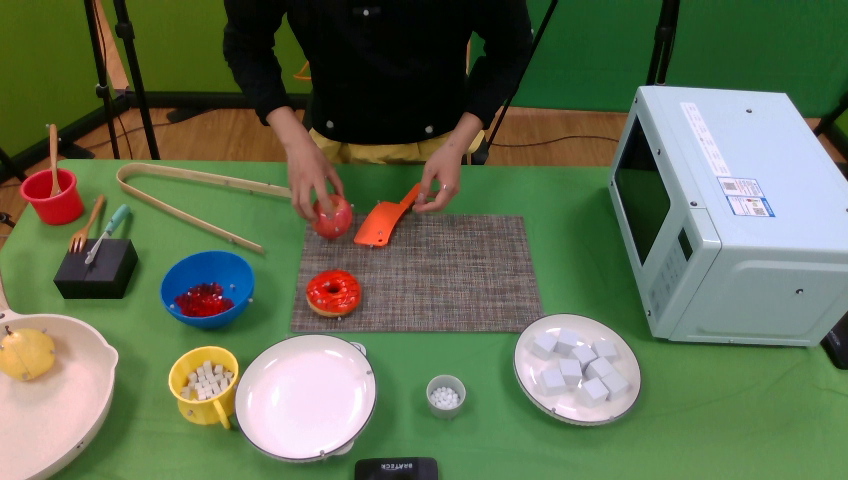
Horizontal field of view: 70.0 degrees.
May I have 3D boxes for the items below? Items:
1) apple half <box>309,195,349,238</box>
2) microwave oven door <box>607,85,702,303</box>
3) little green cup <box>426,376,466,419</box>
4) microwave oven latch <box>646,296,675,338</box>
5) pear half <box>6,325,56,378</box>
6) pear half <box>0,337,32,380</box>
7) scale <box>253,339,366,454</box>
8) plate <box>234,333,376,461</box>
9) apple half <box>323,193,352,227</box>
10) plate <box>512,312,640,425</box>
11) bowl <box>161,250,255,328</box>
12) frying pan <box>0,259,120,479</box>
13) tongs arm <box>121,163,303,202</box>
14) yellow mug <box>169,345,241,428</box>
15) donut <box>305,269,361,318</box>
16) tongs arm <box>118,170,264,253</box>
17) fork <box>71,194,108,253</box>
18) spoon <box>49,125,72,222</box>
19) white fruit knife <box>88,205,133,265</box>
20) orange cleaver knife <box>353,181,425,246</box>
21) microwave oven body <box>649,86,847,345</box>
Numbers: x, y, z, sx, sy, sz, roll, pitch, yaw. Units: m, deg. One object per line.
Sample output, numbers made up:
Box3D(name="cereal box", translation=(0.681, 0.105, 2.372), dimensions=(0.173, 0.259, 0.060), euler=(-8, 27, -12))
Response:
Box3D(name="apple half", translation=(-0.186, -0.038, 1.144), dimensions=(0.080, 0.075, 0.053), euler=(39, 56, 19))
Box3D(name="microwave oven door", translation=(0.423, -0.094, 1.140), dimensions=(0.039, 0.245, 0.353), euler=(2, 46, -1))
Box3D(name="little green cup", translation=(0.033, 0.248, 0.950), dimensions=(0.061, 0.039, 0.061), euler=(2, 46, -2))
Box3D(name="microwave oven latch", translation=(0.412, 0.134, 1.061), dimensions=(0.030, 0.029, 0.078), euler=(4, 45, 1))
Box3D(name="pear half", translation=(-0.608, 0.158, 0.935), dimensions=(0.076, 0.110, 0.056), euler=(31, 51, 20))
Box3D(name="pear half", translation=(-0.631, 0.184, 0.921), dimensions=(0.070, 0.088, 0.031), euler=(29, 49, 19))
Box3D(name="scale", translation=(-0.175, 0.236, 0.951), dimensions=(0.149, 0.032, 0.199), euler=(4, 46, 0))
Box3D(name="plate", translation=(-0.175, 0.235, 0.907), dimensions=(0.209, 0.038, 0.208), euler=(2, 46, -2))
Box3D(name="apple half", translation=(-0.162, -0.059, 1.166), dimensions=(0.081, 0.081, 0.033), euler=(33, 54, 25))
Box3D(name="plate", translation=(0.246, 0.213, 0.999), dimensions=(0.208, 0.039, 0.206), euler=(2, 46, -2))
Box3D(name="bowl", translation=(-0.362, 0.098, 1.039), dimensions=(0.151, 0.077, 0.150), euler=(2, 45, -2))
Box3D(name="frying pan", translation=(-0.647, 0.164, 0.936), dimensions=(0.307, 0.103, 0.485), euler=(-19, 58, -22))
Box3D(name="tongs arm", translation=(-0.444, -0.115, 1.266), dimensions=(0.384, 0.026, 0.050), euler=(12, 50, 8))
Box3D(name="yellow mug", translation=(-0.322, 0.230, 0.922), dimensions=(0.100, 0.064, 0.130), euler=(-24, 53, -25))
Box3D(name="donut", translation=(-0.161, 0.094, 1.075), dimensions=(0.099, 0.048, 0.098), euler=(4, 45, -3))
Box3D(name="tongs arm", translation=(-0.473, -0.056, 1.210), dimensions=(0.386, 0.028, 0.028), euler=(24, 55, 17))
Box3D(name="fork", translation=(-0.634, -0.036, 1.158), dimensions=(0.028, 0.019, 0.206), euler=(-8, 31, -8))
Box3D(name="spoon", translation=(-0.718, -0.131, 1.189), dimensions=(0.041, 0.021, 0.193), euler=(-4, 90, -7))
Box3D(name="white fruit knife", translation=(-0.584, -0.013, 1.129), dimensions=(0.016, 0.027, 0.206), euler=(0, 32, -5))
Box3D(name="orange cleaver knife", translation=(-0.069, -0.059, 1.245), dimensions=(0.077, 0.012, 0.210), euler=(18, 50, 21))
Box3D(name="microwave oven body", translation=(0.568, -0.053, 1.118), dimensions=(0.326, 0.261, 0.439), euler=(2, 45, -1))
